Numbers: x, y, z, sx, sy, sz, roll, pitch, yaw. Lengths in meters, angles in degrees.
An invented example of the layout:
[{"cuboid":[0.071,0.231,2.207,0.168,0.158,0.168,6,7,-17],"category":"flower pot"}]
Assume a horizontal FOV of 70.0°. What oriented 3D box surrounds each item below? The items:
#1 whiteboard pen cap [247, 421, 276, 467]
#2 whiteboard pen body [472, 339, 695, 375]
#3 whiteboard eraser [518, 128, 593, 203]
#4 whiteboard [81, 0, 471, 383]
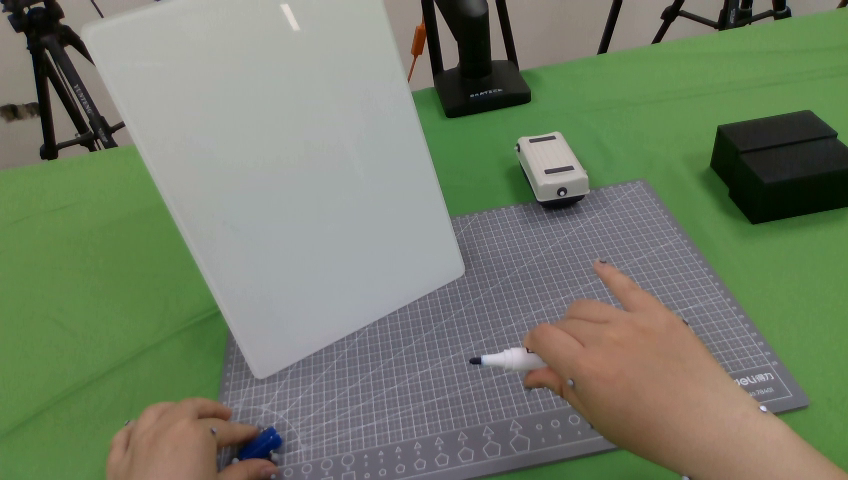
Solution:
[{"cuboid":[-0.125,0.157,0.463,0.018,0.018,0.033,-2,61,10],"category":"whiteboard pen cap"},{"cuboid":[0.101,0.076,0.388,0.141,0.017,0.017,-4,41,2],"category":"whiteboard pen body"},{"cuboid":[0.142,-0.082,0.667,0.055,0.042,0.111,-12,37,1],"category":"whiteboard eraser"},{"cuboid":[-0.119,-0.072,0.551,0.217,0.308,0.142,-26,24,-17],"category":"whiteboard"}]
